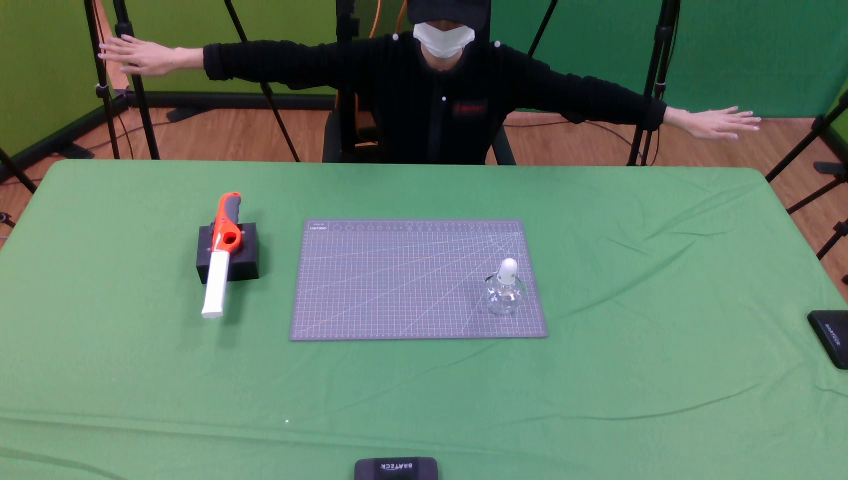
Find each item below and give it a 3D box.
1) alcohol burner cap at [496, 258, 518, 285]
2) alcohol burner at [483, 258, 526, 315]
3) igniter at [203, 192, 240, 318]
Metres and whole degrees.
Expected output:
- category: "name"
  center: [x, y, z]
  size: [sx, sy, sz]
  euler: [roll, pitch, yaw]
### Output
- category: "alcohol burner cap"
  center: [0.144, 0.051, 1.041]
  size: [0.034, 0.048, 0.033]
  euler: [4, 45, -3]
- category: "alcohol burner"
  center: [0.143, 0.076, 1.067]
  size: [0.078, 0.120, 0.077]
  euler: [1, 45, -1]
- category: "igniter"
  center: [-0.361, 0.017, 1.084]
  size: [0.057, 0.025, 0.274]
  euler: [-3, 51, -6]
